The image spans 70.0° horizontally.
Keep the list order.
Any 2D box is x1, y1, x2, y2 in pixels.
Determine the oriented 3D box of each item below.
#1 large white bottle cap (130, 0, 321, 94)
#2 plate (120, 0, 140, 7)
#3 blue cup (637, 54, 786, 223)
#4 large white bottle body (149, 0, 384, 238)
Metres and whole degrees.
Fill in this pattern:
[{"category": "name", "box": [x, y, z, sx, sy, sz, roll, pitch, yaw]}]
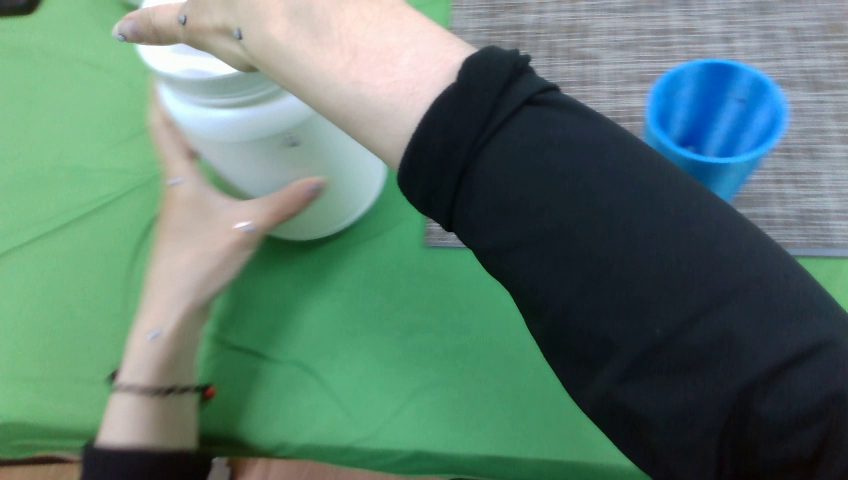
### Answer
[{"category": "large white bottle cap", "box": [-0.121, -0.137, 0.370, 0.115, 0.018, 0.114, -3, 62, 6]}, {"category": "plate", "box": [-0.255, -0.323, 0.665, 0.207, 0.039, 0.206, -3, 62, 6]}, {"category": "blue cup", "box": [0.190, -0.062, 0.427, 0.092, 0.101, 0.092, -4, 61, 8]}, {"category": "large white bottle body", "box": [-0.109, -0.097, 0.444, 0.130, 0.186, 0.129, -3, 62, 6]}]
